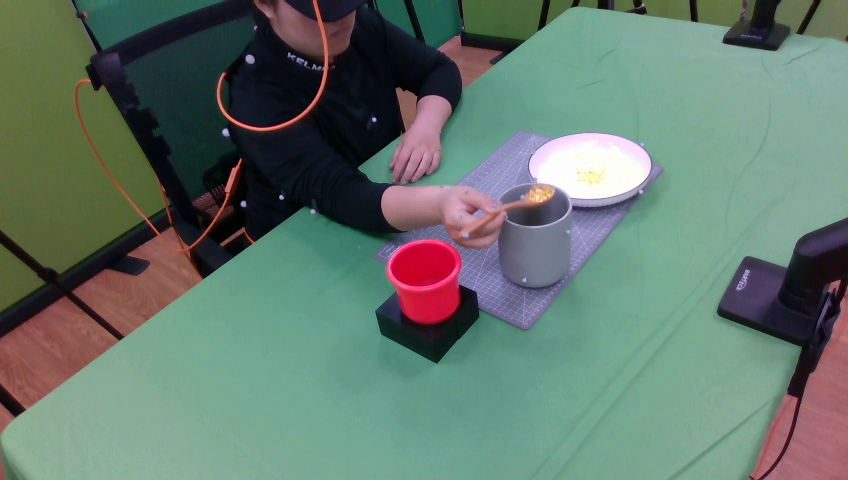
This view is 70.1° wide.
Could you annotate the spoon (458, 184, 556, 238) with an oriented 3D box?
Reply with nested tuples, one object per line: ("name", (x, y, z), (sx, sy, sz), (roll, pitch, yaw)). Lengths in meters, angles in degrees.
("spoon", (0.108, -0.039, 0.779), (0.041, 0.022, 0.195), (17, 29, 42))

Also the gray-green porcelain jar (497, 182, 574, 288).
("gray-green porcelain jar", (0.160, -0.003, 0.870), (0.106, 0.127, 0.105), (-5, 40, 5))

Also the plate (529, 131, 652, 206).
("plate", (0.287, -0.121, 1.056), (0.207, 0.039, 0.206), (-5, 40, 5))
